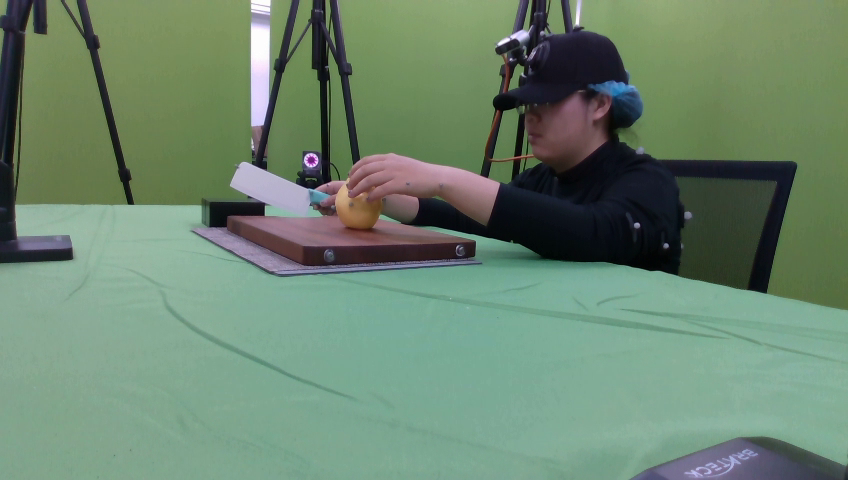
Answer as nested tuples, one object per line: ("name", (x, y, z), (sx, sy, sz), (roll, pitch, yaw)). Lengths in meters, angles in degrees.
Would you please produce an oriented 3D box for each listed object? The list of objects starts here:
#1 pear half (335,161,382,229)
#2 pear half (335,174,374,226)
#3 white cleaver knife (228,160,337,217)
("pear half", (-0.100, -0.072, 0.974), (0.077, 0.110, 0.055), (-9, 13, -39))
("pear half", (-0.121, -0.067, 1.003), (0.071, 0.088, 0.031), (-14, 16, -39))
("white cleaver knife", (-0.253, -0.083, 1.219), (0.288, 0.066, 0.021), (21, -1, -34))
